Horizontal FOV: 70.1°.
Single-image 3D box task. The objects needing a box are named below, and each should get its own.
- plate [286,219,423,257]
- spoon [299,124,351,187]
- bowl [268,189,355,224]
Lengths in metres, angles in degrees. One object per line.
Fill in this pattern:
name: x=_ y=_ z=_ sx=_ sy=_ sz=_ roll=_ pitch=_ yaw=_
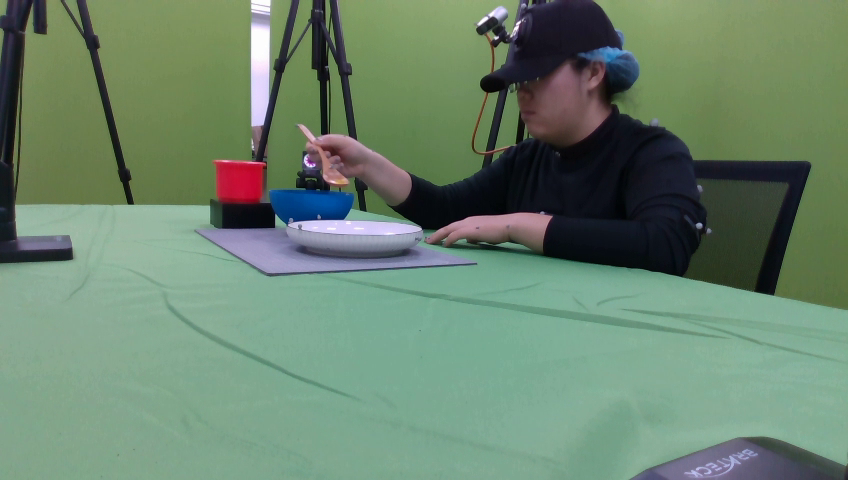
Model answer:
plate: x=-0.105 y=-0.003 z=0.922 sx=0.208 sy=0.039 sz=0.207 roll=3 pitch=7 yaw=0
spoon: x=-0.179 y=-0.152 z=1.063 sx=0.042 sy=0.021 sz=0.193 roll=-8 pitch=49 yaw=-33
bowl: x=-0.201 y=-0.049 z=1.078 sx=0.151 sy=0.077 sz=0.151 roll=3 pitch=8 yaw=0
